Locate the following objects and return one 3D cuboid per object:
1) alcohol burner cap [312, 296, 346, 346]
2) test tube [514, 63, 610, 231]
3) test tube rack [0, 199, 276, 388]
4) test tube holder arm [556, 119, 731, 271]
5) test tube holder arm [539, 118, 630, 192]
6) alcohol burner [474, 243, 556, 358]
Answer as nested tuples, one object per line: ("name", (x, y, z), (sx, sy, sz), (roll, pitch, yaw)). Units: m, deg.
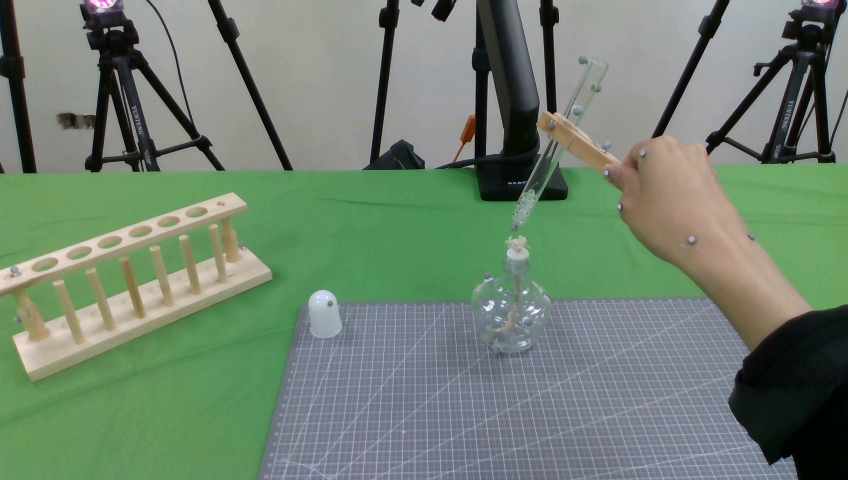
("alcohol burner cap", (-0.095, 0.077, 0.598), (0.034, 0.048, 0.033), (0, 34, 0))
("test tube", (0.109, -0.070, 0.492), (0.017, 0.151, 0.017), (17, 30, -10))
("test tube rack", (-0.281, 0.045, 0.615), (0.243, 0.086, 0.066), (-25, 40, -32))
("test tube holder arm", (0.153, -0.040, 0.448), (0.013, 0.015, 0.176), (-7, 43, -37))
("test tube holder arm", (0.124, -0.067, 0.469), (0.010, 0.015, 0.087), (-14, 48, -43))
("alcohol burner", (0.086, 0.052, 0.566), (0.078, 0.120, 0.077), (0, 35, 0))
